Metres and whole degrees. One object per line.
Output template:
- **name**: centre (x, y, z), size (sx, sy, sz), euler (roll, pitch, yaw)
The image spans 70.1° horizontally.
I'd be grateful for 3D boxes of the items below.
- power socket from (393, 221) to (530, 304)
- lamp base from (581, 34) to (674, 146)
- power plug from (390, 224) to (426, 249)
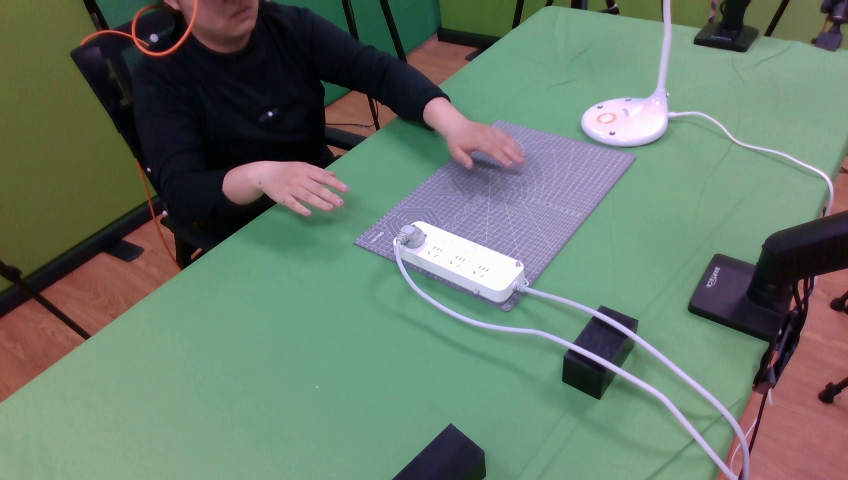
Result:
- **power socket**: centre (0.049, 0.030, 0.914), size (0.225, 0.033, 0.072), euler (24, 51, 31)
- **lamp base**: centre (0.392, -0.291, 1.129), size (0.180, 0.181, 0.159), euler (-11, 41, -8)
- **power plug**: centre (-0.030, 0.004, 0.920), size (0.073, 0.053, 0.035), euler (-33, 47, -26)
